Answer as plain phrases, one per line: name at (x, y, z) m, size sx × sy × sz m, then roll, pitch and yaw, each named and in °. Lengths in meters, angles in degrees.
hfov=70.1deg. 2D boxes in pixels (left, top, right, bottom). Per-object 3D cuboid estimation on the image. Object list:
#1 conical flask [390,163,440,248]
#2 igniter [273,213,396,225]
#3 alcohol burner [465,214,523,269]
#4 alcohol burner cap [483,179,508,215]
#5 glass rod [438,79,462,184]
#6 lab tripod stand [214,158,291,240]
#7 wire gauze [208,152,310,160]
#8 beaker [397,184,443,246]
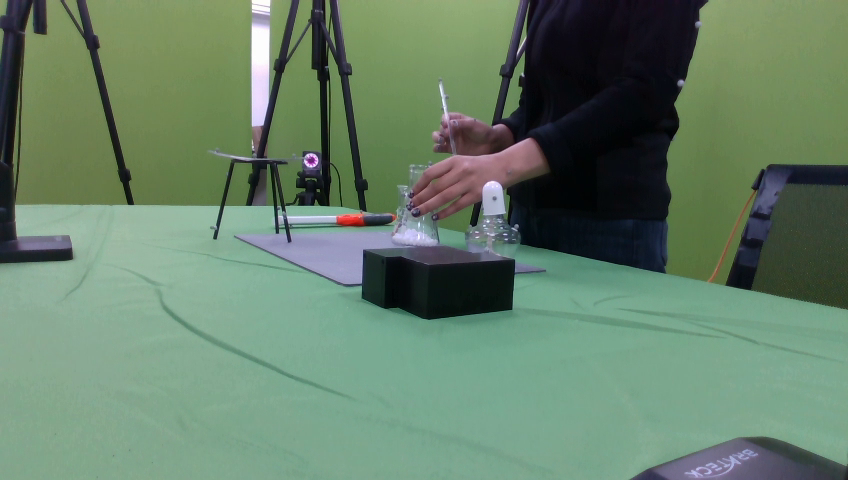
conical flask at (-0.009, -0.052, 0.896) m, size 0.075 × 0.122 × 0.075 m, roll 4°, pitch 3°, yaw 0°
igniter at (-0.179, -0.044, 1.258) m, size 0.278 × 0.025 × 0.057 m, roll -3°, pitch -1°, yaw -39°
alcohol burner at (0.094, -0.022, 0.815) m, size 0.078 × 0.119 × 0.078 m, roll 0°, pitch 6°, yaw 0°
alcohol burner cap at (0.093, -0.057, 0.810) m, size 0.034 × 0.048 × 0.034 m, roll -7°, pitch 6°, yaw 1°
glass rod at (0.046, -0.194, 1.071) m, size 0.008 × 0.199 × 0.008 m, roll -10°, pitch -11°, yaw -2°
lab tripod stand at (-0.268, -0.068, 1.002) m, size 0.148 × 0.131 × 0.148 m, roll 3°, pitch 6°, yaw 0°
wire gauze at (-0.270, -0.135, 0.993) m, size 0.124 × 0.011 × 0.122 m, roll 8°, pitch 8°, yaw 41°
beaker at (-0.011, -0.043, 1.004) m, size 0.083 × 0.100 × 0.074 m, roll 7°, pitch 9°, yaw 39°
